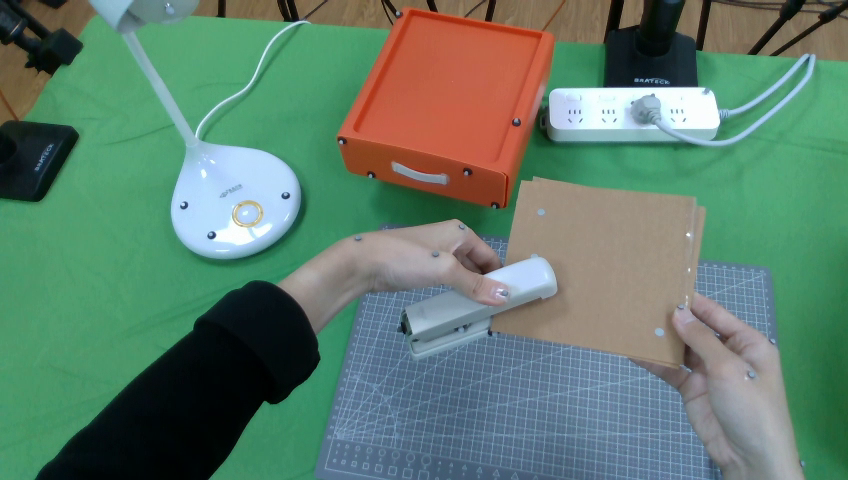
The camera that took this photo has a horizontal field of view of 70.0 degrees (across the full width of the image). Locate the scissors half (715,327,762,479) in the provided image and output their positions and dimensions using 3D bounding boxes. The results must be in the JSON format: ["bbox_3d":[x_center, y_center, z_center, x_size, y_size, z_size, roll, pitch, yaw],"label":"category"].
[{"bbox_3d":[0.303,0.165,0.598,0.040,0.013,0.173,10,58,0],"label":"scissors half"}]

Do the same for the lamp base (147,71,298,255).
[{"bbox_3d":[-0.252,-0.097,0.697,0.177,0.182,0.160,38,69,26],"label":"lamp base"}]

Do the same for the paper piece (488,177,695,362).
[{"bbox_3d":[0.127,0.015,0.458,0.135,0.009,0.137,7,67,19],"label":"paper piece"}]

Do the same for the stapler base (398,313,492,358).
[{"bbox_3d":[0.043,0.048,0.461,0.130,0.025,0.041,-20,58,2],"label":"stapler base"}]

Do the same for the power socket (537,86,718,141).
[{"bbox_3d":[0.261,-0.163,0.781,0.226,0.033,0.071,2,61,5],"label":"power socket"}]

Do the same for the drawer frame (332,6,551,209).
[{"bbox_3d":[0.026,-0.164,0.724,0.201,0.083,0.212,15,64,13],"label":"drawer frame"}]

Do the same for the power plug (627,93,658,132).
[{"bbox_3d":[0.267,-0.150,0.746,0.035,0.053,0.072,11,62,10],"label":"power plug"}]

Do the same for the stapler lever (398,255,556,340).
[{"bbox_3d":[0.040,0.042,0.447,0.118,0.040,0.026,-15,58,-6],"label":"stapler lever"}]

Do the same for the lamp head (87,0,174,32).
[{"bbox_3d":[-0.226,-0.231,0.437,0.123,0.112,0.112,46,68,-15],"label":"lamp head"}]

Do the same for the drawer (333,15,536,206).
[{"bbox_3d":[0.025,-0.160,0.719,0.194,0.074,0.210,15,62,13],"label":"drawer"}]

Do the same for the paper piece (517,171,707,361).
[{"bbox_3d":[0.136,0.013,0.462,0.135,0.004,0.135,14,64,19],"label":"paper piece"}]

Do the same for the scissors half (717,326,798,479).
[{"bbox_3d":[0.323,0.165,0.598,0.040,0.013,0.173,-7,59,-4],"label":"scissors half"}]
